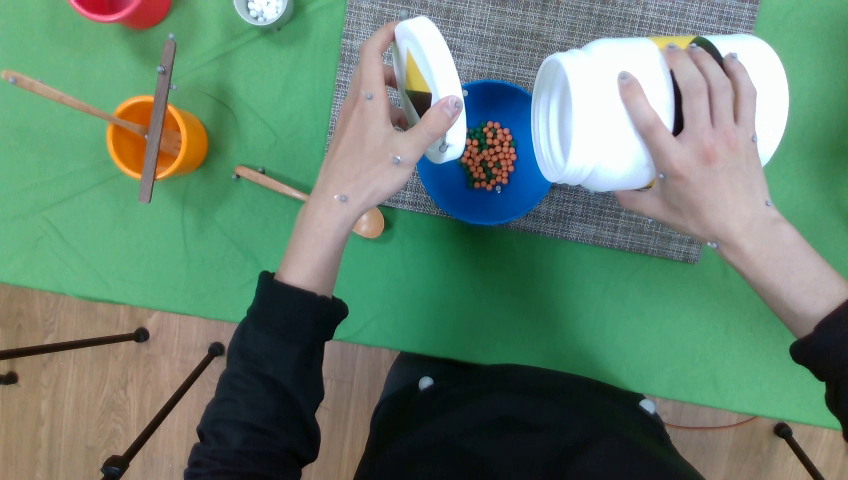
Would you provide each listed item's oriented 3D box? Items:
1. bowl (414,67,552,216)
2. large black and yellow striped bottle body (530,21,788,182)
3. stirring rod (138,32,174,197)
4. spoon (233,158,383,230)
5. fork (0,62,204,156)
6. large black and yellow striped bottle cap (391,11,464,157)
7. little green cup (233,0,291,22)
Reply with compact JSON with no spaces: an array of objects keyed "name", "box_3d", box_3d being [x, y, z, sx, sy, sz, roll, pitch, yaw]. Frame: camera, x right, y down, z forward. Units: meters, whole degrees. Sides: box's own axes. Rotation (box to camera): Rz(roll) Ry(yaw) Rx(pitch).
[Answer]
[{"name":"bowl","box_3d":[0.067,-0.104,0.662,0.151,0.076,0.151,0,98,4]},{"name":"large black and yellow striped bottle body","box_3d":[0.197,-0.120,0.534,0.184,0.130,0.131,-5,97,-7]},{"name":"stirring rod","box_3d":[-0.286,-0.132,0.646,0.014,0.006,0.176,12,99,0]},{"name":"spoon","box_3d":[-0.137,-0.060,0.714,0.194,0.021,0.042,21,112,0]},{"name":"fork","box_3d":[-0.337,-0.139,0.652,0.209,0.018,0.028,22,104,-43]},{"name":"large black and yellow striped bottle cap","box_3d":[0.001,-0.125,0.494,0.019,0.114,0.115,-19,96,-14]},{"name":"little green cup","box_3d":[-0.180,-0.276,0.678,0.061,0.038,0.061,1,98,5]}]
